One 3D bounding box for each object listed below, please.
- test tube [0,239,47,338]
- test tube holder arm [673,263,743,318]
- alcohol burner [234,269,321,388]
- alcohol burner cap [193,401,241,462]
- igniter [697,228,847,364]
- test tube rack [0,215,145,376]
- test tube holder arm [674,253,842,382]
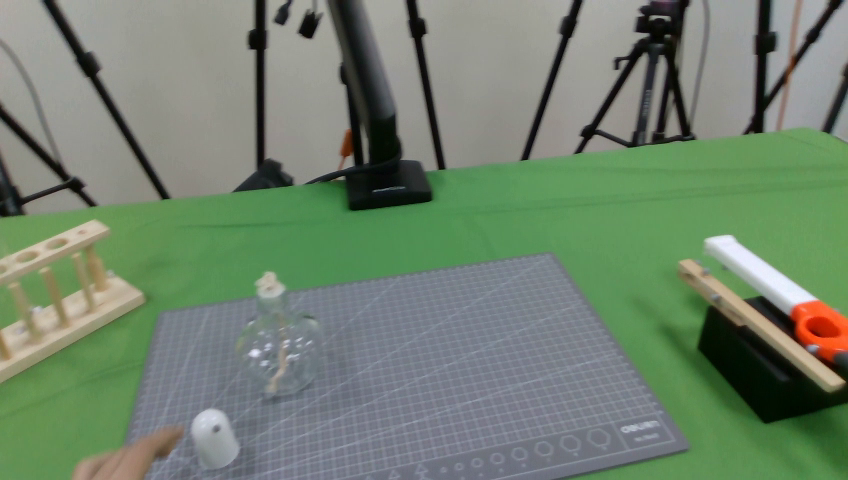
[{"bbox_3d":[-0.388,0.032,0.564,0.017,0.151,0.017,-1,34,1],"label":"test tube"},{"bbox_3d":[0.267,0.044,0.567,0.015,0.010,0.087,-18,33,-12],"label":"test tube holder arm"},{"bbox_3d":[-0.132,0.073,0.537,0.078,0.120,0.077,0,34,1],"label":"alcohol burner"},{"bbox_3d":[-0.168,0.150,0.486,0.034,0.048,0.033,0,33,1],"label":"alcohol burner cap"},{"bbox_3d":[0.333,0.061,0.525,0.057,0.025,0.273,-10,30,-10],"label":"igniter"},{"bbox_3d":[-0.411,0.071,0.588,0.066,0.086,0.242,22,40,32],"label":"test tube rack"},{"bbox_3d":[0.280,0.060,0.527,0.015,0.013,0.176,-18,33,-12],"label":"test tube holder arm"}]
